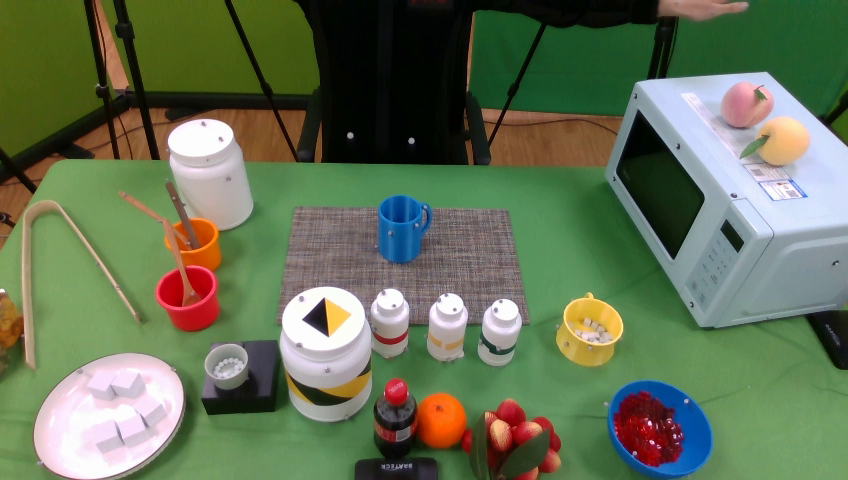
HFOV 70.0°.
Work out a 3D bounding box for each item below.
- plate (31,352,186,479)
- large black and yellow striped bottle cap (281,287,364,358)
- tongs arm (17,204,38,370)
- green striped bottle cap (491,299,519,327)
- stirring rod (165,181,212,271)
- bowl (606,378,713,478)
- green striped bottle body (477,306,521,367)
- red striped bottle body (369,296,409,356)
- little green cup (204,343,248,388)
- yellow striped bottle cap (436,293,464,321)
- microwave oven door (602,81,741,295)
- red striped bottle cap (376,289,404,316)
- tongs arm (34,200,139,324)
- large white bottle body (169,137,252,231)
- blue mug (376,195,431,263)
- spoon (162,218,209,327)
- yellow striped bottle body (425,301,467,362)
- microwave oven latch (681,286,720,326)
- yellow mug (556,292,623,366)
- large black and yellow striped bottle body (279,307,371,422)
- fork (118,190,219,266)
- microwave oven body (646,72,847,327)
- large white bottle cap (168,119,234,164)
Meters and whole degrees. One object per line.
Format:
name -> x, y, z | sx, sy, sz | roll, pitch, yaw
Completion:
plate -> -0.459, 0.262, 0.898 | 0.209, 0.038, 0.208 | 2, 46, -2
large black and yellow striped bottle cap -> -0.141, 0.112, 0.847 | 0.115, 0.019, 0.114 | 5, 45, -4
tongs arm -> -0.698, 0.069, 1.068 | 0.028, 0.028, 0.385 | -20, 50, -13
green striped bottle cap -> 0.128, 0.115, 0.958 | 0.044, 0.020, 0.044 | 1, 47, -1
stirring rod -> -0.430, -0.025, 1.107 | 0.014, 0.006, 0.176 | -25, 94, -20
bowl -> 0.340, 0.292, 0.906 | 0.151, 0.077, 0.150 | 2, 46, -2
green striped bottle body -> 0.124, 0.151, 0.995 | 0.063, 0.120, 0.063 | 2, 46, -2
red striped bottle body -> -0.058, 0.134, 0.997 | 0.063, 0.120, 0.062 | 4, 47, -4
little green cup -> -0.294, 0.191, 0.909 | 0.061, 0.039, 0.061 | 1, 48, -1
yellow striped bottle cap -> 0.041, 0.106, 0.959 | 0.044, 0.019, 0.044 | 0, 50, 1
microwave oven door -> 0.456, -0.107, 1.162 | 0.039, 0.245, 0.353 | -7, 47, -11
red striped bottle cap -> -0.054, 0.098, 0.958 | 0.044, 0.018, 0.044 | -1, 48, 1
tongs arm -> -0.622, 0.034, 1.105 | 0.051, 0.026, 0.382 | -32, 55, -26
large white bottle body -> -0.411, -0.123, 1.169 | 0.131, 0.185, 0.130 | 2, 46, -2
blue mug -> -0.035, -0.027, 1.159 | 0.116, 0.106, 0.082 | -24, 53, -25
spoon -> -0.410, 0.054, 1.029 | 0.041, 0.021, 0.194 | -17, 94, -15
yellow striped bottle body -> 0.037, 0.142, 0.996 | 0.063, 0.121, 0.062 | 3, 47, -2
microwave oven latch -> 0.494, 0.119, 1.087 | 0.030, 0.029, 0.078 | -5, 46, -9
yellow mug -> 0.285, 0.145, 1.051 | 0.100, 0.064, 0.130 | 7, 45, 3
large black and yellow striped bottle body -> -0.145, 0.173, 0.907 | 0.131, 0.185, 0.130 | 2, 46, -2
fork -> -0.459, -0.020, 1.092 | 0.208, 0.018, 0.028 | 44, 44, -24
microwave oven body -> 0.607, -0.090, 1.164 | 0.326, 0.261, 0.438 | -7, 46, -10
large white bottle cap -> -0.407, -0.181, 1.108 | 0.115, 0.018, 0.114 | 2, 47, -2
